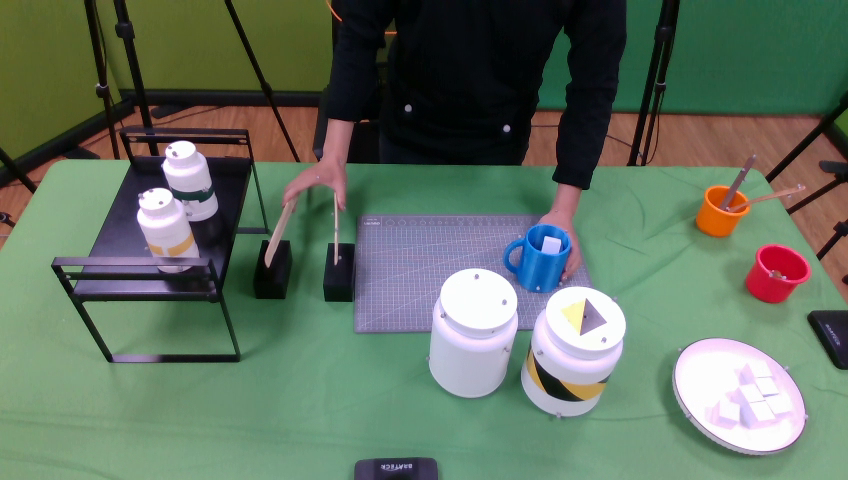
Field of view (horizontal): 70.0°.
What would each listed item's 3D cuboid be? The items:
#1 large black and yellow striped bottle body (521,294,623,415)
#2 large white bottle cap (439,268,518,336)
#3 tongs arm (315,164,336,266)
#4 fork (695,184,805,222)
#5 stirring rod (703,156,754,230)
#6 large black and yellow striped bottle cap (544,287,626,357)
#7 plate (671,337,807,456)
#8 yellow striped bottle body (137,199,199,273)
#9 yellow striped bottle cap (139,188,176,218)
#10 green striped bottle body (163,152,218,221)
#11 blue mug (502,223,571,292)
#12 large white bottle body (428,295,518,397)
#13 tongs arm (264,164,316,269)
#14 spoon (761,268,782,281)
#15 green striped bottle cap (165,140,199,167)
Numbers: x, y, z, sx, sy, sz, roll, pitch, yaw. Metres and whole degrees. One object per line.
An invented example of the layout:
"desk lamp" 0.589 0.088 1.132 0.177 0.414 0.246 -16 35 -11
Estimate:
"large black and yellow striped bottle body" 0.228 0.173 0.938 0.131 0.185 0.130 2 47 -2
"large white bottle cap" 0.080 0.089 0.888 0.115 0.018 0.114 2 47 -2
"tongs arm" -0.191 -0.061 1.160 0.051 0.026 0.382 -5 31 -4
"fork" 0.657 -0.075 1.230 0.207 0.019 0.028 -23 34 37
"stirring rod" 0.631 -0.097 1.258 0.014 0.006 0.176 33 95 29
"large black and yellow striped bottle cap" 0.232 0.116 0.876 0.115 0.019 0.114 1 46 -1
"plate" 0.503 0.254 0.984 0.208 0.039 0.206 2 46 -2
"yellow striped bottle body" -0.366 -0.014 0.864 0.063 0.121 0.062 2 46 -2
"yellow striped bottle cap" -0.363 -0.051 0.827 0.044 0.019 0.044 1 47 -1
"green striped bottle body" -0.363 -0.092 0.939 0.063 0.120 0.063 2 46 -2
"blue mug" 0.202 0.031 1.121 0.116 0.106 0.082 5 47 1
"large white bottle body" 0.076 0.147 0.950 0.131 0.185 0.130 2 46 -2
"tongs arm" -0.253 -0.058 1.156 0.028 0.028 0.385 -4 30 4
"spoon" 0.638 0.060 1.105 0.041 0.021 0.194 38 11 24
"green striped bottle cap" -0.360 -0.129 0.902 0.044 0.020 0.044 2 48 -2
